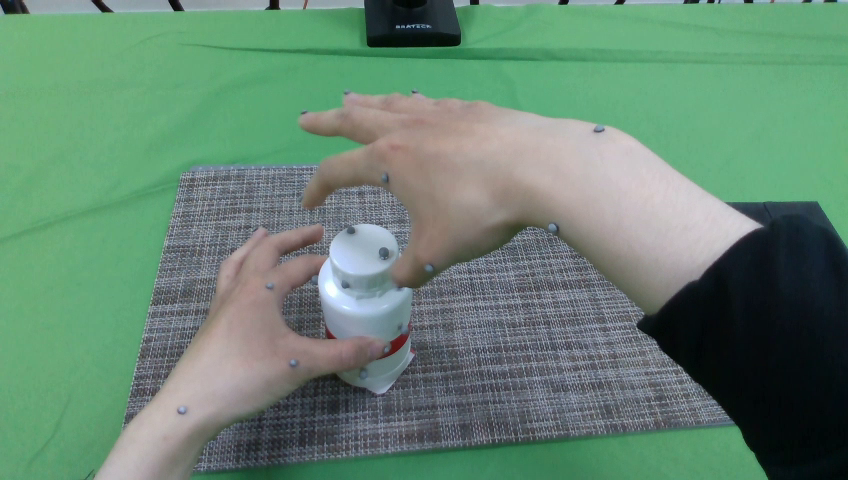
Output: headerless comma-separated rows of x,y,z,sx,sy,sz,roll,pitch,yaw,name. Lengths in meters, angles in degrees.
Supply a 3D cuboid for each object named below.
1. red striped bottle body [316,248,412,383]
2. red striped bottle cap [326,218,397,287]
-0.041,0.045,0.422,0.063,0.120,0.062,2,49,-2,red striped bottle body
-0.039,0.007,0.381,0.044,0.018,0.044,1,51,-1,red striped bottle cap
